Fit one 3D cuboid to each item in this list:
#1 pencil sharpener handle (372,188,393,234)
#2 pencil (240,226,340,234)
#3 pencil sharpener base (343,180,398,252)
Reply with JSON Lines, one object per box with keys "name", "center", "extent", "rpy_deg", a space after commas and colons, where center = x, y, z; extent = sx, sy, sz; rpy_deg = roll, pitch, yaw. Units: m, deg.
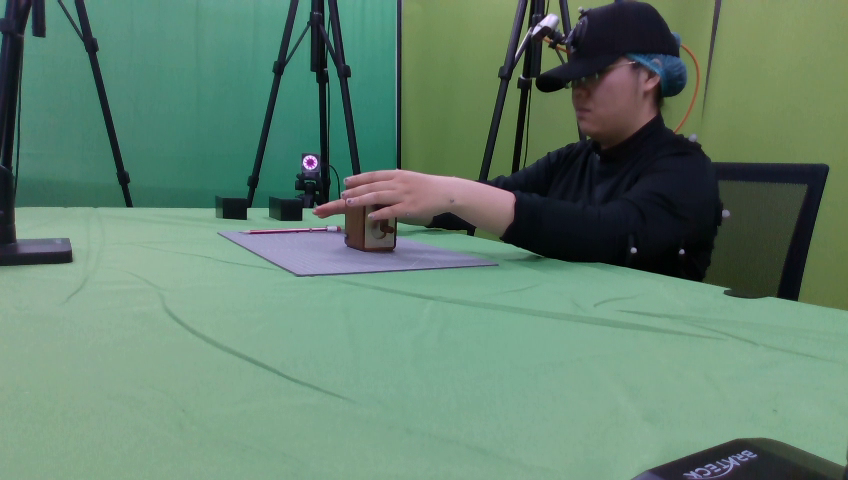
{"name": "pencil sharpener handle", "center": [-0.057, -0.044, 0.912], "extent": [0.036, 0.067, 0.030], "rpy_deg": [-1, 8, -33]}
{"name": "pencil", "center": [-0.245, -0.018, 1.119], "extent": [0.195, 0.012, 0.012], "rpy_deg": [-3, 9, -35]}
{"name": "pencil sharpener base", "center": [-0.085, -0.039, 0.956], "extent": [0.062, 0.107, 0.076], "rpy_deg": [-2, 9, -33]}
